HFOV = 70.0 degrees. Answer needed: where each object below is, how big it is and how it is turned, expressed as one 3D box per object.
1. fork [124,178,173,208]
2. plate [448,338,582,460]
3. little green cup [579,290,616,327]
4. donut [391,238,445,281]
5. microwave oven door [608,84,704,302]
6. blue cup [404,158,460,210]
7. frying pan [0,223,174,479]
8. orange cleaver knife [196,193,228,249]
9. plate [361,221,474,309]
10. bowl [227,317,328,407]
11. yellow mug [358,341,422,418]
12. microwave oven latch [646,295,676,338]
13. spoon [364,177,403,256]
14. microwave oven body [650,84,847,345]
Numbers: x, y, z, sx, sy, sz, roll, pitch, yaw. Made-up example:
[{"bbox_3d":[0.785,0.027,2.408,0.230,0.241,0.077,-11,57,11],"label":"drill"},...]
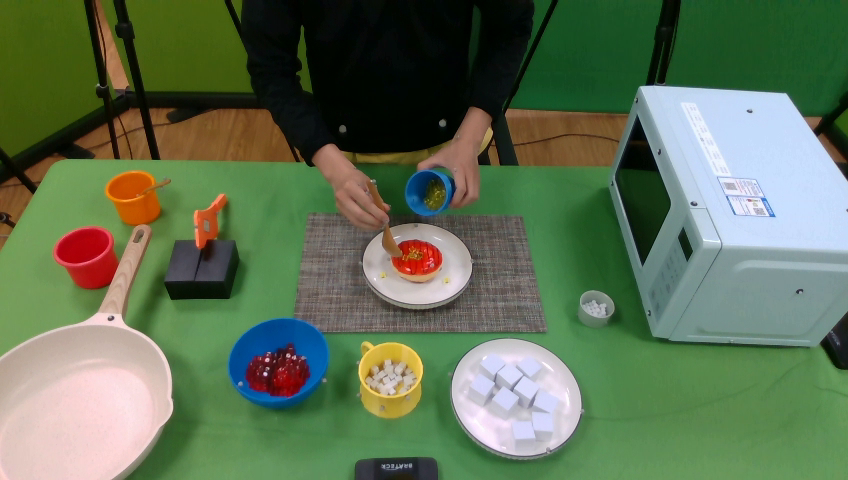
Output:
[{"bbox_3d":[-0.525,-0.089,1.153,0.207,0.019,0.028,-18,27,45],"label":"fork"},{"bbox_3d":[0.141,0.251,0.956,0.208,0.039,0.206,2,47,-2],"label":"plate"},{"bbox_3d":[0.308,0.124,1.086,0.061,0.039,0.061,1,45,-1],"label":"little green cup"},{"bbox_3d":[-0.011,0.035,1.129,0.099,0.048,0.098,2,43,-1],"label":"donut"},{"bbox_3d":[0.424,-0.096,1.138,0.039,0.245,0.353,2,47,-1],"label":"microwave oven door"},{"bbox_3d":[0.023,-0.096,1.138,0.092,0.100,0.092,-5,79,25],"label":"blue cup"},{"bbox_3d":[-0.505,0.169,0.941,0.307,0.103,0.485,5,54,-1],"label":"frying pan"},{"bbox_3d":[-0.406,-0.041,1.163,0.012,0.077,0.210,0,18,-3],"label":"orange cleaver knife"},{"bbox_3d":[-0.011,0.049,1.130,0.209,0.038,0.208,2,46,-2],"label":"plate"},{"bbox_3d":[-0.223,0.203,0.947,0.151,0.077,0.150,2,46,-2],"label":"bowl"},{"bbox_3d":[-0.063,0.210,0.961,0.100,0.064,0.130,-29,54,-27],"label":"yellow mug"},{"bbox_3d":[0.413,0.133,1.060,0.030,0.029,0.078,4,46,1],"label":"microwave oven latch"},{"bbox_3d":[-0.071,-0.036,1.018,0.041,0.195,0.021,20,54,30],"label":"spoon"},{"bbox_3d":[0.569,-0.054,1.116,0.326,0.261,0.439,2,46,-1],"label":"microwave oven body"}]
